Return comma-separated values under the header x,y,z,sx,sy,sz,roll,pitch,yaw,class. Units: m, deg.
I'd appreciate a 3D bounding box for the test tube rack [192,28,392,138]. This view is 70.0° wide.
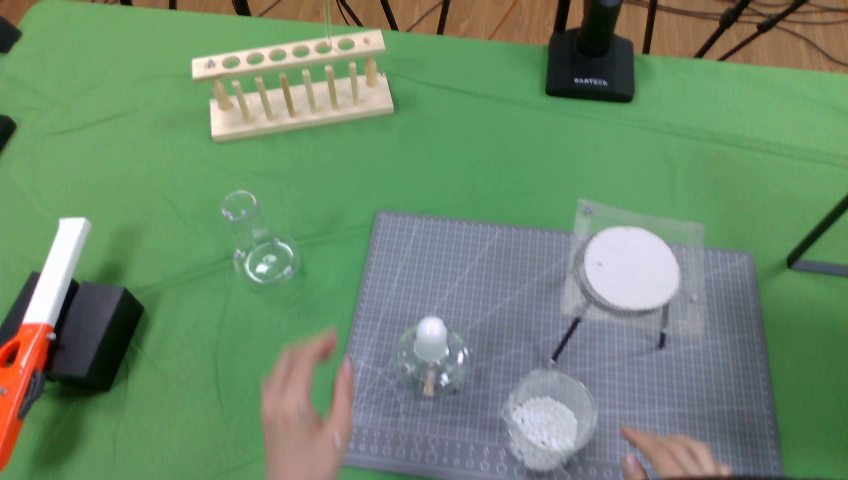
x,y,z,sx,sy,sz,roll,pitch,yaw,class
-0.169,-0.206,0.799,0.242,0.086,0.066,-11,61,-6,test tube rack

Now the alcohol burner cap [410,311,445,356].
x,y,z,sx,sy,sz,roll,pitch,yaw,class
0.005,0.085,0.569,0.034,0.048,0.033,2,54,-3,alcohol burner cap

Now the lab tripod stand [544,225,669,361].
x,y,z,sx,sy,sz,roll,pitch,yaw,class
0.186,0.056,0.614,0.148,0.132,0.147,1,59,-1,lab tripod stand

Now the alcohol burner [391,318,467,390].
x,y,z,sx,sy,sz,roll,pitch,yaw,class
0.005,0.105,0.600,0.078,0.120,0.077,1,59,-1,alcohol burner

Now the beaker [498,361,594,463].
x,y,z,sx,sy,sz,roll,pitch,yaw,class
0.109,0.167,0.571,0.084,0.101,0.073,-4,59,0,beaker

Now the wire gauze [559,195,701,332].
x,y,z,sx,sy,sz,roll,pitch,yaw,class
0.193,0.019,0.557,0.121,0.011,0.124,12,61,6,wire gauze

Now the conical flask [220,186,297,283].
x,y,z,sx,sy,sz,roll,pitch,yaw,class
-0.187,-0.010,0.666,0.075,0.123,0.074,0,60,1,conical flask

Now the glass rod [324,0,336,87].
x,y,z,sx,sy,sz,roll,pitch,yaw,class
-0.118,-0.264,0.754,0.008,0.201,0.008,2,59,-3,glass rod

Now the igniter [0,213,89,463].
x,y,z,sx,sy,sz,roll,pitch,yaw,class
-0.397,0.092,0.611,0.057,0.025,0.274,-2,59,5,igniter
